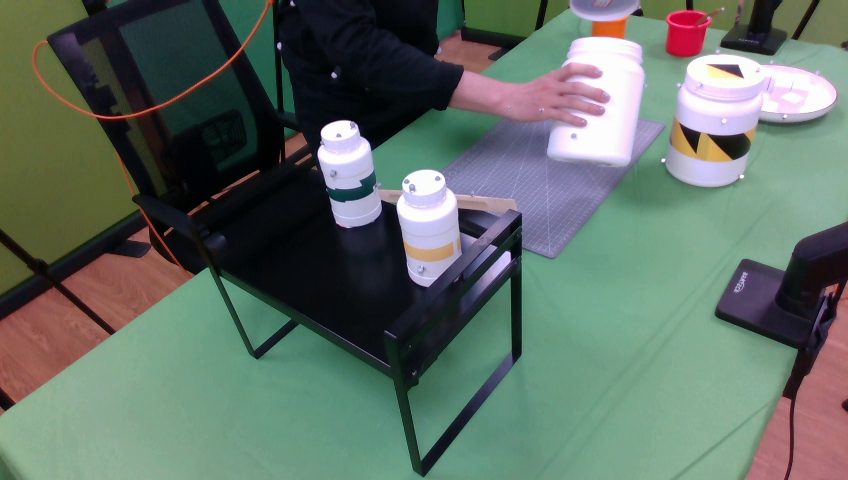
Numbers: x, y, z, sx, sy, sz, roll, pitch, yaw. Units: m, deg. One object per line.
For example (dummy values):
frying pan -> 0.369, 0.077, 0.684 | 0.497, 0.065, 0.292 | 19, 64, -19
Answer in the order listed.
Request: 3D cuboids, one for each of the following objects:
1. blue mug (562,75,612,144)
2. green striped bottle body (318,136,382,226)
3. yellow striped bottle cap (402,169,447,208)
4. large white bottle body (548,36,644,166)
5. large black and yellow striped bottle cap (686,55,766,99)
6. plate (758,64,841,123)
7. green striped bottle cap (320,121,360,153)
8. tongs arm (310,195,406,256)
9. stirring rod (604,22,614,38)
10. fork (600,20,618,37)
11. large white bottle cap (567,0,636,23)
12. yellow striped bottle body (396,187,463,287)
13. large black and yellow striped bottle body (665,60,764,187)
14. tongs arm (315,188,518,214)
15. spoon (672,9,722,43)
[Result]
blue mug -> 0.298, -0.239, 1.143 | 0.081, 0.106, 0.117 | 30, 53, 36
green striped bottle body -> -0.090, -0.081, 0.733 | 0.063, 0.120, 0.063 | -5, 41, 4
yellow striped bottle cap -> 0.000, -0.052, 0.604 | 0.044, 0.019, 0.044 | -5, 43, 5
large white bottle body -> 0.275, -0.217, 0.963 | 0.131, 0.184, 0.130 | 8, 6, 0
large black and yellow striped bottle cap -> 0.474, -0.258, 0.952 | 0.115, 0.019, 0.114 | -5, 41, 5
plate -> 0.695, -0.283, 1.189 | 0.207, 0.039, 0.206 | -4, 40, 4
green striped bottle cap -> -0.097, -0.119, 0.699 | 0.044, 0.020, 0.044 | -4, 39, 3
tongs arm -> -0.078, -0.012, 0.944 | 0.028, 0.028, 0.384 | -43, 39, -22
stirring rod -> 0.437, -0.551, 1.462 | 0.014, 0.006, 0.175 | -11, 83, 1
fork -> 0.479, -0.556, 1.452 | 0.028, 0.019, 0.207 | 41, 103, 40
large white bottle cap -> 0.306, -0.411, 1.043 | 0.114, 0.115, 0.018 | 5, 81, 15
yellow striped bottle body -> 0.006, -0.013, 0.638 | 0.063, 0.121, 0.062 | -5, 41, 5
large black and yellow striped bottle body -> 0.482, -0.196, 1.008 | 0.131, 0.185, 0.130 | -4, 41, 4
tongs arm -> -0.028, -0.060, 0.988 | 0.382, 0.027, 0.051 | 9, 45, 36
spoon -> 0.606, -0.476, 1.345 | 0.042, 0.021, 0.193 | -6, -3, -2
